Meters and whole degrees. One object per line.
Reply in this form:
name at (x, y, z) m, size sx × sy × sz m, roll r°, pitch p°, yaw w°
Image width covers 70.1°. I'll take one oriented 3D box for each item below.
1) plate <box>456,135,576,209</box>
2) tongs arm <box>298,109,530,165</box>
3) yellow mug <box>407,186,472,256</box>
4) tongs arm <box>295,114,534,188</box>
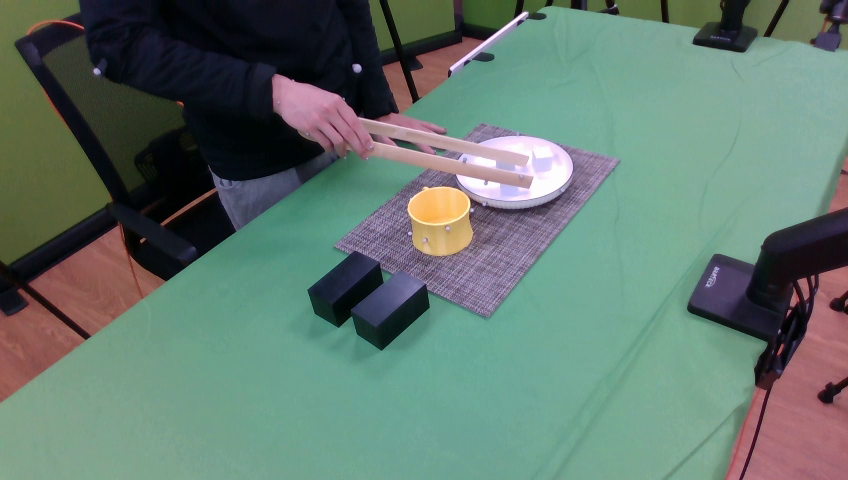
plate at (0.161, -0.116, 1.064) m, size 0.207 × 0.039 × 0.206 m, roll -4°, pitch 40°, yaw 4°
tongs arm at (-0.012, -0.167, 0.997) m, size 0.389 × 0.028 × 0.028 m, roll 9°, pitch 44°, yaw -9°
yellow mug at (0.020, -0.041, 0.973) m, size 0.100 × 0.064 × 0.129 m, roll -18°, pitch 41°, yaw -13°
tongs arm at (-0.014, -0.140, 0.964) m, size 0.386 × 0.026 × 0.050 m, roll 10°, pitch 40°, yaw -8°
